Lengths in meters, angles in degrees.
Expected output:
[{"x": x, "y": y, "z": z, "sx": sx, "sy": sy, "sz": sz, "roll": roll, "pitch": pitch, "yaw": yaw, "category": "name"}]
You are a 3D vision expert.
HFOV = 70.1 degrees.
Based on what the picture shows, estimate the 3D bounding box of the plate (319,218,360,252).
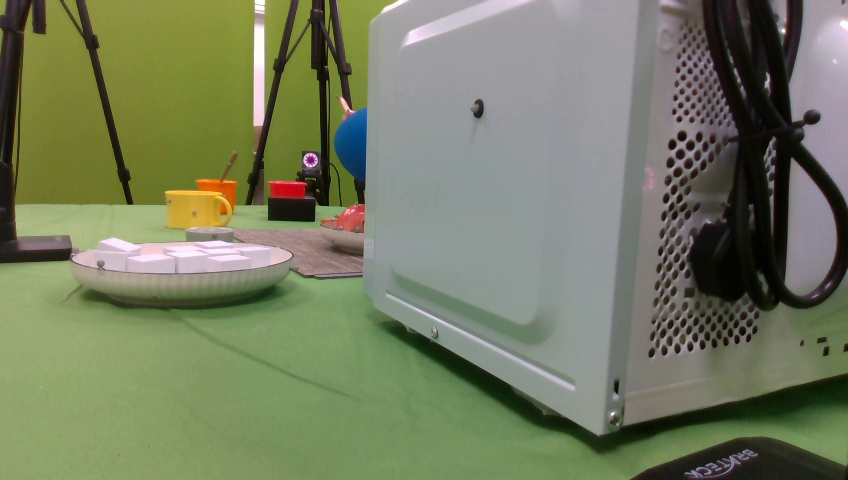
[{"x": -0.058, "y": -0.007, "z": 0.939, "sx": 0.209, "sy": 0.038, "sz": 0.209, "roll": 3, "pitch": 8, "yaw": 0, "category": "plate"}]

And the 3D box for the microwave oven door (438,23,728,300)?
[{"x": 0.181, "y": -0.072, "z": 0.621, "sx": 0.358, "sy": 0.243, "sz": 0.039, "roll": -2, "pitch": 8, "yaw": -29, "category": "microwave oven door"}]

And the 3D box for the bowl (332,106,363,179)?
[{"x": -0.061, "y": -0.132, "z": 0.932, "sx": 0.152, "sy": 0.076, "sz": 0.151, "roll": -12, "pitch": -31, "yaw": -7, "category": "bowl"}]

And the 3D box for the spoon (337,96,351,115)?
[{"x": -0.127, "y": -0.198, "z": 1.056, "sx": 0.042, "sy": 0.021, "sz": 0.193, "roll": 16, "pitch": 40, "yaw": -34, "category": "spoon"}]

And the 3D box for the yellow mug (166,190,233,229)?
[{"x": -0.415, "y": -0.057, "z": 1.132, "sx": 0.130, "sy": 0.064, "sz": 0.100, "roll": 6, "pitch": 8, "yaw": 16, "category": "yellow mug"}]

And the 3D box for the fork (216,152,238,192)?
[{"x": -0.455, "y": -0.132, "z": 1.367, "sx": 0.028, "sy": 0.018, "sz": 0.207, "roll": -3, "pitch": -35, "yaw": -37, "category": "fork"}]

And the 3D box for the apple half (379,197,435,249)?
[{"x": -0.020, "y": -0.030, "z": 0.891, "sx": 0.081, "sy": 0.053, "sz": 0.074, "roll": -2, "pitch": 49, "yaw": -26, "category": "apple half"}]

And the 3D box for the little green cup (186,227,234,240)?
[{"x": -0.285, "y": 0.005, "z": 0.805, "sx": 0.061, "sy": 0.038, "sz": 0.061, "roll": 2, "pitch": 8, "yaw": 0, "category": "little green cup"}]

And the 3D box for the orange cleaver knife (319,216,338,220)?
[{"x": -0.142, "y": -0.057, "z": 1.394, "sx": 0.077, "sy": 0.012, "sz": 0.212, "roll": 1, "pitch": 6, "yaw": 44, "category": "orange cleaver knife"}]

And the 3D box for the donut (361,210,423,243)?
[{"x": -0.050, "y": -0.020, "z": 0.958, "sx": 0.099, "sy": 0.048, "sz": 0.099, "roll": 5, "pitch": 7, "yaw": 0, "category": "donut"}]

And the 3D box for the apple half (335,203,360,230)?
[{"x": -0.116, "y": -0.038, "z": 0.959, "sx": 0.081, "sy": 0.033, "sz": 0.081, "roll": -38, "pitch": 8, "yaw": 7, "category": "apple half"}]

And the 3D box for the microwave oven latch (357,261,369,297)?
[{"x": -0.019, "y": 0.033, "z": 0.531, "sx": 0.079, "sy": 0.029, "sz": 0.030, "roll": -1, "pitch": 7, "yaw": -27, "category": "microwave oven latch"}]

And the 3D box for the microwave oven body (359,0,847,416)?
[{"x": 0.211, "y": -0.047, "z": 0.474, "sx": 0.444, "sy": 0.260, "sz": 0.324, "roll": -1, "pitch": 7, "yaw": -28, "category": "microwave oven body"}]

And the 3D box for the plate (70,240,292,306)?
[{"x": -0.242, "y": 0.031, "z": 0.618, "sx": 0.208, "sy": 0.039, "sz": 0.207, "roll": 2, "pitch": 8, "yaw": 0, "category": "plate"}]
